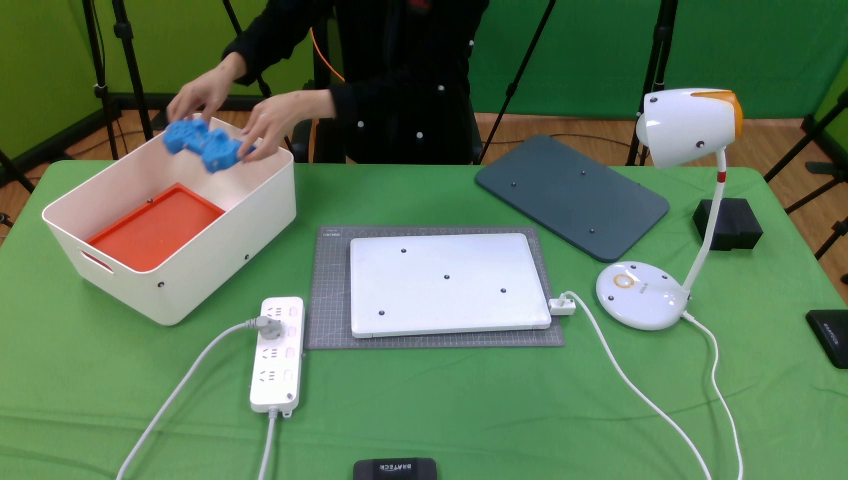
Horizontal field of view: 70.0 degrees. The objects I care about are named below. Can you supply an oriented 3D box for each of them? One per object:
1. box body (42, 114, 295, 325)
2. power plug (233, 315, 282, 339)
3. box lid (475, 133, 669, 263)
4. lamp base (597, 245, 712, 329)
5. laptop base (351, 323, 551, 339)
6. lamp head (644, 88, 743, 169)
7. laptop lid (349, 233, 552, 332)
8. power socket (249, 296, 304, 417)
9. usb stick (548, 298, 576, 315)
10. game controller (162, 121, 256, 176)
[{"bbox_3d":[-0.437,-0.046,1.110,0.253,0.161,0.363,24,49,19],"label":"box body"},{"bbox_3d":[-0.271,0.144,0.999,0.072,0.053,0.035,6,47,3],"label":"power plug"},{"bbox_3d":[0.324,-0.105,1.334,0.369,0.015,0.263,36,54,27],"label":"box lid"},{"bbox_3d":[0.418,0.051,1.072,0.179,0.181,0.160,22,49,13],"label":"lamp base"},{"bbox_3d":[0.040,0.081,1.125,0.355,0.023,0.234,-2,43,-6],"label":"laptop base"},{"bbox_3d":[0.380,-0.161,0.851,0.122,0.113,0.112,-4,42,25],"label":"lamp head"},{"bbox_3d":[0.040,0.071,1.118,0.357,0.013,0.240,-1,44,-5],"label":"laptop lid"},{"bbox_3d":[-0.239,0.182,0.996,0.072,0.033,0.225,-2,47,-5],"label":"power socket"},{"bbox_3d":[0.240,0.120,1.085,0.059,0.027,0.021,-2,51,-2],"label":"usb stick"},{"bbox_3d":[-0.380,-0.169,1.056,0.154,0.052,0.097,25,51,21],"label":"game controller"}]
